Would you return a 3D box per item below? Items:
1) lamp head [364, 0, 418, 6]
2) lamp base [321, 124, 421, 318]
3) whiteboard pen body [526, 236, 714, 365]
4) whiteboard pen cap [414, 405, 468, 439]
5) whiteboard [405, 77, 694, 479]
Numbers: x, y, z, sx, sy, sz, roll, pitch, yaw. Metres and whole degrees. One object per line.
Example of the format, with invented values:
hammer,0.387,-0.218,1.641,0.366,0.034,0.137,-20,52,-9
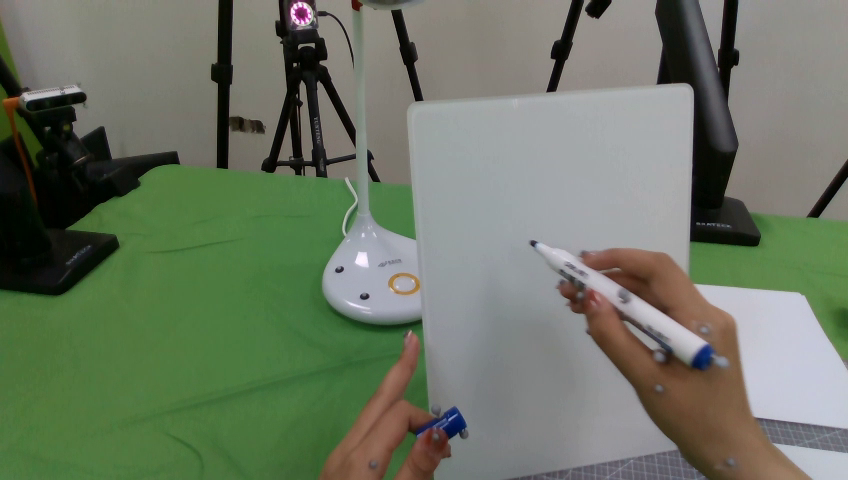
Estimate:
lamp head,-0.035,-0.269,0.491,0.113,0.113,0.121,-15,59,-22
lamp base,-0.049,-0.030,0.683,0.161,0.181,0.177,-22,35,-31
whiteboard pen body,0.109,0.030,0.365,0.017,0.017,0.139,-20,38,-29
whiteboard pen cap,0.011,0.119,0.399,0.033,0.018,0.018,-21,27,17
whiteboard,0.094,0.025,0.528,0.217,0.306,0.143,-6,13,-8
